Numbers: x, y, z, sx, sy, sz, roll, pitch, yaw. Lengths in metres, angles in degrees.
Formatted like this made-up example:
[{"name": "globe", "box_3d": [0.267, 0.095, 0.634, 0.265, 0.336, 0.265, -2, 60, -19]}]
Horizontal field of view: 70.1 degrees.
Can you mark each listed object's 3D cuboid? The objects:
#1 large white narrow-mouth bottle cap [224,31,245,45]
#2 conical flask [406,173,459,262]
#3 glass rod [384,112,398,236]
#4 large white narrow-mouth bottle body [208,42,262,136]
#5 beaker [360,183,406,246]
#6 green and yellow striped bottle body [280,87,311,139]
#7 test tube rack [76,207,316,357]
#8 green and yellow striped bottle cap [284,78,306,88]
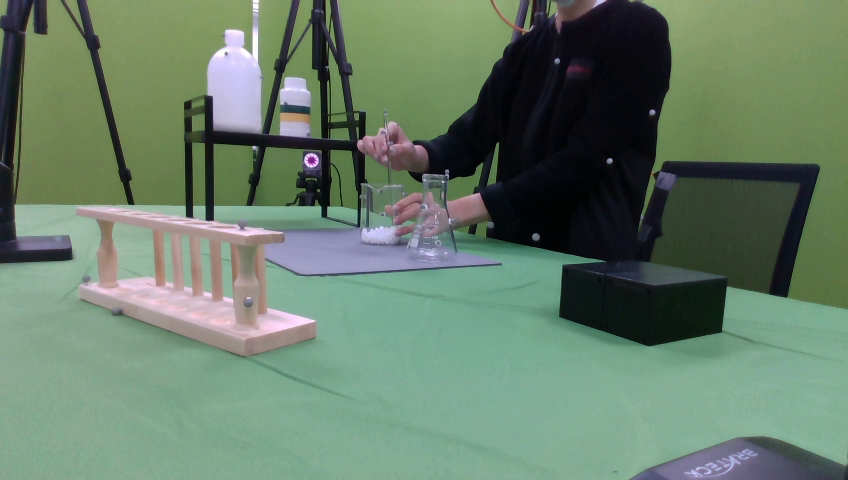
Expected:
[{"name": "large white narrow-mouth bottle cap", "box_3d": [-0.365, -0.389, 1.166, 0.038, 0.024, 0.037, 2, 9, 0]}, {"name": "conical flask", "box_3d": [0.014, -0.033, 0.851, 0.075, 0.122, 0.075, 2, 8, 0]}, {"name": "glass rod", "box_3d": [-0.054, -0.106, 0.978, 0.008, 0.199, 0.008, -5, 6, 1]}, {"name": "large white narrow-mouth bottle body", "box_3d": [-0.369, -0.304, 1.181, 0.102, 0.194, 0.101, 2, 9, 0]}, {"name": "beaker", "box_3d": [-0.069, -0.043, 0.994, 0.074, 0.100, 0.084, 3, 8, 6]}, {"name": "green and yellow striped bottle body", "box_3d": [-0.269, -0.274, 1.266, 0.063, 0.119, 0.063, 3, 7, 0]}, {"name": "test tube rack", "box_3d": [-0.196, 0.023, 0.500, 0.241, 0.085, 0.067, 8, 9, 36]}, {"name": "green and yellow striped bottle cap", "box_3d": [-0.268, -0.325, 1.259, 0.045, 0.020, 0.045, 5, 8, 0]}]
